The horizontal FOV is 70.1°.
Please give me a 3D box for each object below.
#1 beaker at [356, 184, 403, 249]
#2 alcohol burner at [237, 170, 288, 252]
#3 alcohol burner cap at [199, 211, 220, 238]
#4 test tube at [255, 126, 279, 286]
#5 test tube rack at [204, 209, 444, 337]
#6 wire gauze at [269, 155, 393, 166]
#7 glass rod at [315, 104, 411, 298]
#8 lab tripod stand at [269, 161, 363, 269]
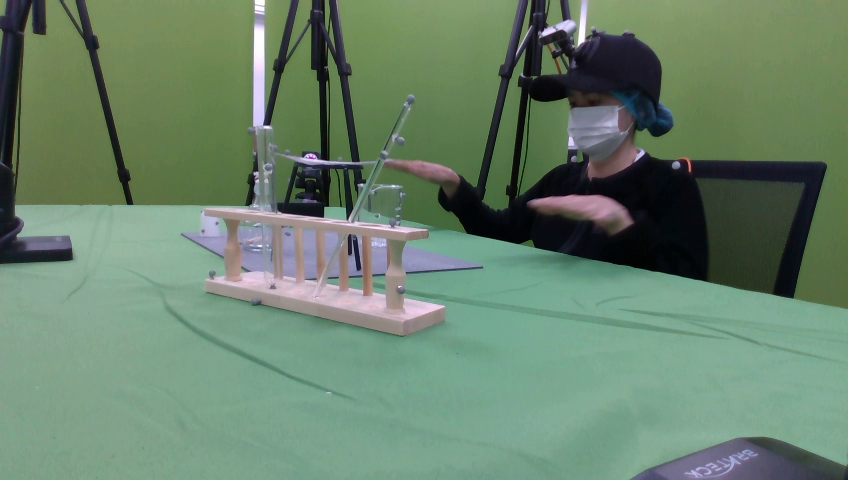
[{"bbox_3d":[-0.074,-0.039,0.975,0.074,0.100,0.084,4,8,12],"label":"beaker"},{"bbox_3d":[-0.236,-0.042,0.882,0.078,0.119,0.078,2,9,0],"label":"alcohol burner"},{"bbox_3d":[-0.356,-0.027,1.002,0.034,0.048,0.034,3,7,0],"label":"alcohol burner cap"},{"bbox_3d":[-0.147,-0.031,0.566,0.017,0.150,0.017,-1,8,0],"label":"test tube"},{"bbox_3d":[-0.100,0.021,0.565,0.241,0.085,0.067,7,9,32],"label":"test tube rack"},{"bbox_3d":[-0.121,-0.102,0.785,0.122,0.011,0.124,-3,10,-39],"label":"wire gauze"},{"bbox_3d":[-0.055,-0.027,0.516,0.008,0.199,0.008,23,24,-11],"label":"glass rod"},{"bbox_3d":[-0.125,-0.036,0.794,0.148,0.131,0.148,5,7,0],"label":"lab tripod stand"}]
